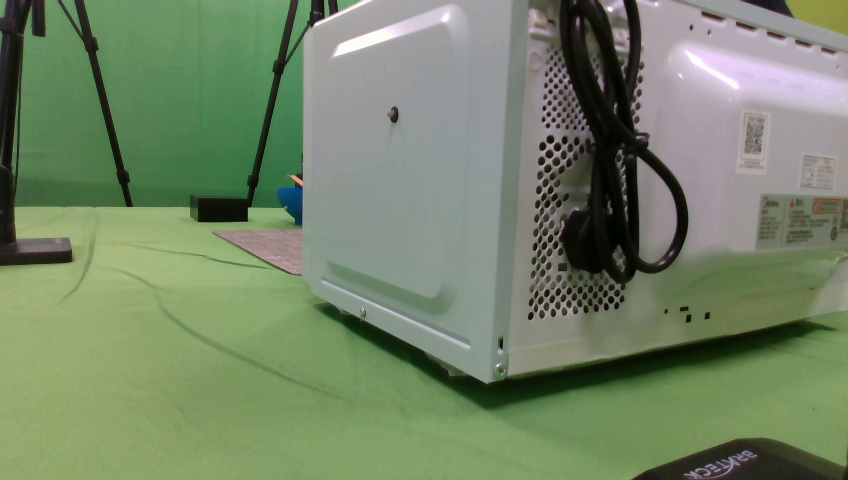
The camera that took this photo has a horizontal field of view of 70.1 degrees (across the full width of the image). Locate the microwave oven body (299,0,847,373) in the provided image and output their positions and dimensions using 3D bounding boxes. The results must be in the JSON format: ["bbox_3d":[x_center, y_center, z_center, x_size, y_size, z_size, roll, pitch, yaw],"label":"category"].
[{"bbox_3d":[0.152,-0.055,0.542,0.444,0.260,0.324,-2,7,-33],"label":"microwave oven body"}]

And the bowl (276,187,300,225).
[{"bbox_3d":[-0.241,-0.073,1.302,0.151,0.077,0.151,2,7,0],"label":"bowl"}]

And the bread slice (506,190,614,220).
[{"bbox_3d":[0.148,-0.039,0.646,0.107,0.018,0.134,-3,9,3],"label":"bread slice"}]

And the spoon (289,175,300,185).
[{"bbox_3d":[-0.261,-0.111,1.343,0.042,0.021,0.192,-9,34,-30],"label":"spoon"}]

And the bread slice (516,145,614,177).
[{"bbox_3d":[0.151,-0.084,0.644,0.105,0.019,0.132,9,4,9],"label":"bread slice"}]

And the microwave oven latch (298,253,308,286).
[{"bbox_3d":[-0.081,0.027,0.582,0.079,0.029,0.030,-1,7,-32],"label":"microwave oven latch"}]

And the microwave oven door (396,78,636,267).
[{"bbox_3d":[0.115,-0.102,0.872,0.354,0.243,0.039,7,9,33],"label":"microwave oven door"}]

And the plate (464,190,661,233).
[{"bbox_3d":[0.147,-0.033,0.659,0.208,0.039,0.207,1,6,0],"label":"plate"}]

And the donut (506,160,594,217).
[{"bbox_3d":[0.137,-0.055,0.656,0.099,0.048,0.099,18,14,-4],"label":"donut"}]
